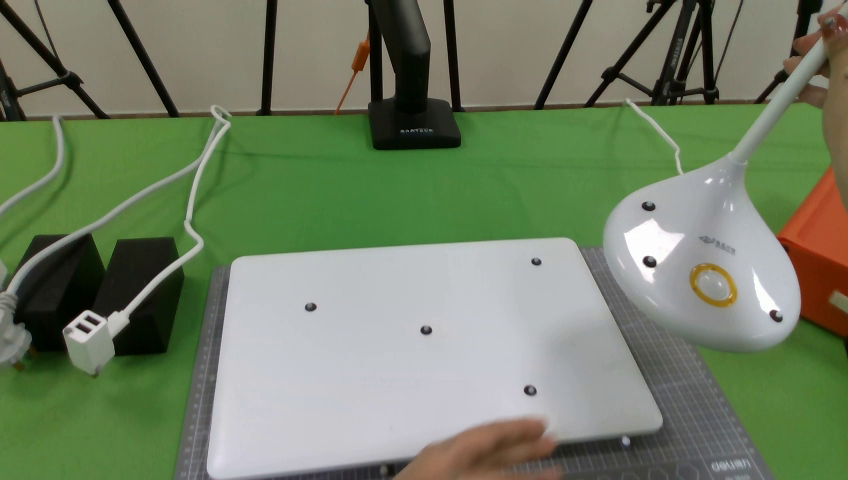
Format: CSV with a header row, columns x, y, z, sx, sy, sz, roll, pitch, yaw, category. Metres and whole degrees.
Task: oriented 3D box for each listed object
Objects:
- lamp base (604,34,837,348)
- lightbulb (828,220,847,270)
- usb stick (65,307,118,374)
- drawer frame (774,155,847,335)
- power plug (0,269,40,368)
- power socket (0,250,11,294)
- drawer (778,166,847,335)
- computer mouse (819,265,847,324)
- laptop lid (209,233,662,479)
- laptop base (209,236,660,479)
x,y,z,sx,sy,sz,roll,pitch,yaw,category
0.236,-0.043,0.432,0.161,0.181,0.177,14,45,-2,lamp base
0.473,0.015,0.637,0.059,0.060,0.107,5,24,2,lightbulb
-0.257,0.081,0.471,0.021,0.059,0.027,24,42,7,usb stick
0.477,0.018,0.619,0.200,0.083,0.213,31,46,29,drawer frame
-0.328,0.068,0.496,0.035,0.053,0.072,12,56,18,power plug
-0.416,0.083,0.505,0.072,0.033,0.224,-4,41,-11,power socket
0.477,0.022,0.617,0.193,0.074,0.212,31,47,29,drawer
0.446,0.065,0.583,0.116,0.041,0.062,30,46,20,computer mouse
0.003,0.081,0.536,0.357,0.013,0.239,-2,43,-7,laptop lid
0.002,0.088,0.546,0.355,0.023,0.233,-3,44,-9,laptop base
